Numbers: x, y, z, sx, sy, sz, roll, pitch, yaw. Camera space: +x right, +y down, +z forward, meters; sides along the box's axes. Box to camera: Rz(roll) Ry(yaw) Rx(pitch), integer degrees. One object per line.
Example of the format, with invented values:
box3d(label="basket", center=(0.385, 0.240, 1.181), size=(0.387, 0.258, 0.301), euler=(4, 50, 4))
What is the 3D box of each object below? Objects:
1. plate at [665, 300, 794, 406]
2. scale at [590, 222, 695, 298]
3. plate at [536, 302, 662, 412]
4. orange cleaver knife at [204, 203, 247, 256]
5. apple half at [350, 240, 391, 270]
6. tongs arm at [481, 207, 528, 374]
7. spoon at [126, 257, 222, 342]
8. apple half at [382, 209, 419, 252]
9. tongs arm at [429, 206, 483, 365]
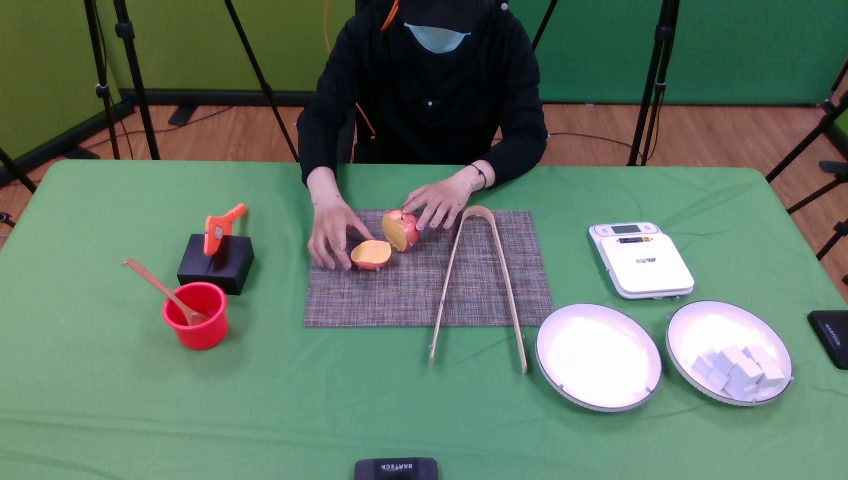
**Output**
box3d(label="plate", center=(0.513, 0.194, 1.033), size=(0.208, 0.039, 0.206), euler=(2, 46, -2))
box3d(label="scale", center=(0.424, 0.031, 1.189), size=(0.149, 0.032, 0.199), euler=(-3, 46, -7))
box3d(label="plate", center=(0.288, 0.197, 1.016), size=(0.209, 0.038, 0.208), euler=(2, 46, -2))
box3d(label="orange cleaver knife", center=(-0.374, -0.024, 1.146), size=(0.012, 0.077, 0.211), euler=(4, 14, 1))
box3d(label="apple half", center=(-0.097, 0.033, 1.146), size=(0.081, 0.033, 0.081), euler=(-4, 33, 3))
box3d(label="tongs arm", center=(0.149, 0.077, 1.124), size=(0.028, 0.028, 0.385), euler=(-4, 46, -2))
box3d(label="spoon", center=(-0.408, 0.096, 0.990), size=(0.194, 0.021, 0.041), euler=(50, 53, -18))
box3d(label="apple half", center=(-0.039, -0.022, 1.175), size=(0.053, 0.075, 0.080), euler=(-27, 49, -31))
box3d(label="tongs arm", center=(0.064, 0.069, 1.124), size=(0.051, 0.026, 0.382), euler=(8, 46, 5))
